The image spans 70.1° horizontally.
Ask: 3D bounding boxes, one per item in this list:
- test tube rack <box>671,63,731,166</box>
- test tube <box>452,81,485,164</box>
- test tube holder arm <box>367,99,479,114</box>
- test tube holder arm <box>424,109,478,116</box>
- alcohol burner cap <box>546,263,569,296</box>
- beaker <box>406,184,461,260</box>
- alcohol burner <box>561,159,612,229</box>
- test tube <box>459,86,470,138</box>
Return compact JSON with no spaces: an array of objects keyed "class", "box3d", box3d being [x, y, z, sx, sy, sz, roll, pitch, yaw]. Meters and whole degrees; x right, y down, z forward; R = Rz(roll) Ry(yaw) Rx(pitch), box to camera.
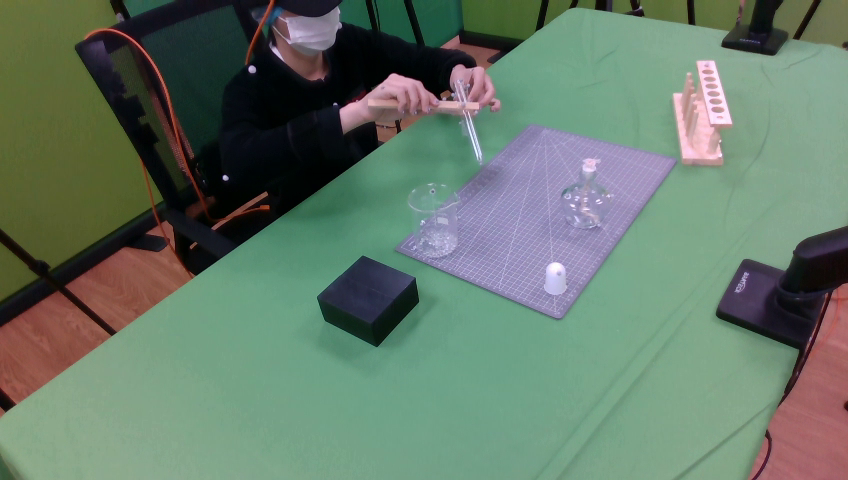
[{"class":"test tube rack","box3d":[0.513,-0.241,1.132,0.066,0.085,0.242,4,41,14]},{"class":"test tube","box3d":[0.071,-0.189,0.966,0.017,0.017,0.149,-13,72,-6]},{"class":"test tube holder arm","box3d":[0.000,-0.210,0.950,0.179,0.013,0.015,0,62,-15]},{"class":"test tube holder arm","box3d":[0.043,-0.208,0.967,0.088,0.010,0.015,-1,62,-13]},{"class":"alcohol burner cap","box3d":[0.191,0.053,0.862,0.034,0.048,0.033,-5,40,4]},{"class":"beaker","box3d":[0.019,-0.026,0.939,0.084,0.101,0.074,1,41,10]},{"class":"alcohol burner","box3d":[0.257,-0.077,0.951,0.078,0.119,0.077,-3,40,3]},{"class":"test tube","box3d":[0.074,-0.228,1.094,0.017,0.151,0.017,-2,67,5]}]
